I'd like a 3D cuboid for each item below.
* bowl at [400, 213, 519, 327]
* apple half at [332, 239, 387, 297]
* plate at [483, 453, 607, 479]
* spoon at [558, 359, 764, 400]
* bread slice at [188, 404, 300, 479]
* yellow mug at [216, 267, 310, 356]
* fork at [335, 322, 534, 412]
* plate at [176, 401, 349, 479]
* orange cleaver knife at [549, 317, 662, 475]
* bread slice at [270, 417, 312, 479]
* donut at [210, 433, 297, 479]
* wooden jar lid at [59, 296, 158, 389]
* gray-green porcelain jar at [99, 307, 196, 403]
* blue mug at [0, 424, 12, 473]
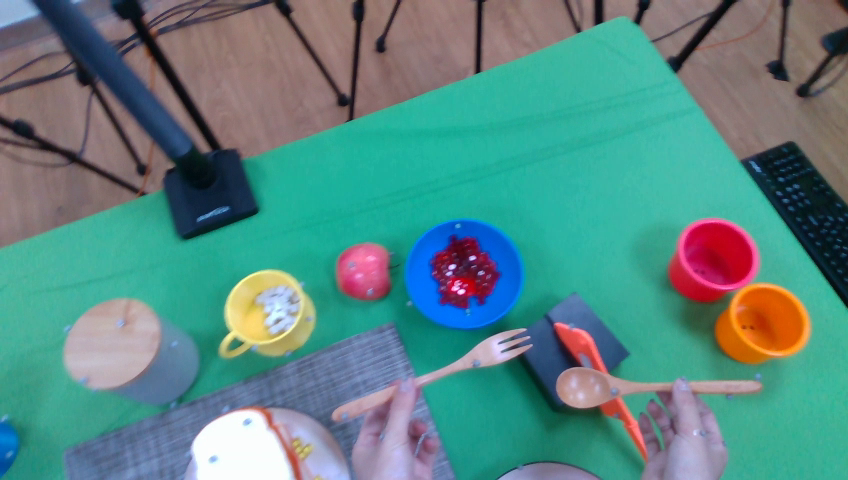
[{"bbox_3d":[0.047,0.049,0.793,0.151,0.077,0.150,-1,67,3],"label":"bowl"},{"bbox_3d":[-0.089,0.033,0.822,0.074,0.054,0.080,-2,67,5],"label":"apple half"},{"bbox_3d":[0.139,0.350,0.681,0.209,0.038,0.207,-1,67,3],"label":"plate"},{"bbox_3d":[0.233,0.139,0.605,0.193,0.022,0.041,-4,68,19],"label":"spoon"},{"bbox_3d":[-0.195,0.245,0.643,0.105,0.019,0.131,-26,81,-1],"label":"bread slice"},{"bbox_3d":[-0.217,0.103,0.792,0.131,0.064,0.099,-43,71,-13],"label":"yellow mug"},{"bbox_3d":[0.014,0.122,0.579,0.208,0.018,0.028,-17,86,-22],"label":"fork"},{"bbox_3d":[-0.189,0.299,0.718,0.207,0.039,0.206,-1,67,3],"label":"plate"},{"bbox_3d":[0.213,0.183,0.725,0.012,0.077,0.211,-30,90,-20],"label":"orange cleaver knife"},{"bbox_3d":[-0.185,0.295,0.720,0.107,0.018,0.133,-38,71,-12],"label":"bread slice"},{"bbox_3d":[-0.195,0.273,0.698,0.099,0.048,0.098,-1,67,3],"label":"donut"},{"bbox_3d":[-0.356,0.117,0.690,0.108,0.021,0.107,-1,64,2],"label":"wooden jar lid"},{"bbox_3d":[-0.351,0.143,0.749,0.106,0.127,0.105,-1,66,3],"label":"gray-green porcelain jar"},{"bbox_3d":[-0.569,0.267,0.719,0.082,0.106,0.115,-2,66,2],"label":"blue mug"}]
